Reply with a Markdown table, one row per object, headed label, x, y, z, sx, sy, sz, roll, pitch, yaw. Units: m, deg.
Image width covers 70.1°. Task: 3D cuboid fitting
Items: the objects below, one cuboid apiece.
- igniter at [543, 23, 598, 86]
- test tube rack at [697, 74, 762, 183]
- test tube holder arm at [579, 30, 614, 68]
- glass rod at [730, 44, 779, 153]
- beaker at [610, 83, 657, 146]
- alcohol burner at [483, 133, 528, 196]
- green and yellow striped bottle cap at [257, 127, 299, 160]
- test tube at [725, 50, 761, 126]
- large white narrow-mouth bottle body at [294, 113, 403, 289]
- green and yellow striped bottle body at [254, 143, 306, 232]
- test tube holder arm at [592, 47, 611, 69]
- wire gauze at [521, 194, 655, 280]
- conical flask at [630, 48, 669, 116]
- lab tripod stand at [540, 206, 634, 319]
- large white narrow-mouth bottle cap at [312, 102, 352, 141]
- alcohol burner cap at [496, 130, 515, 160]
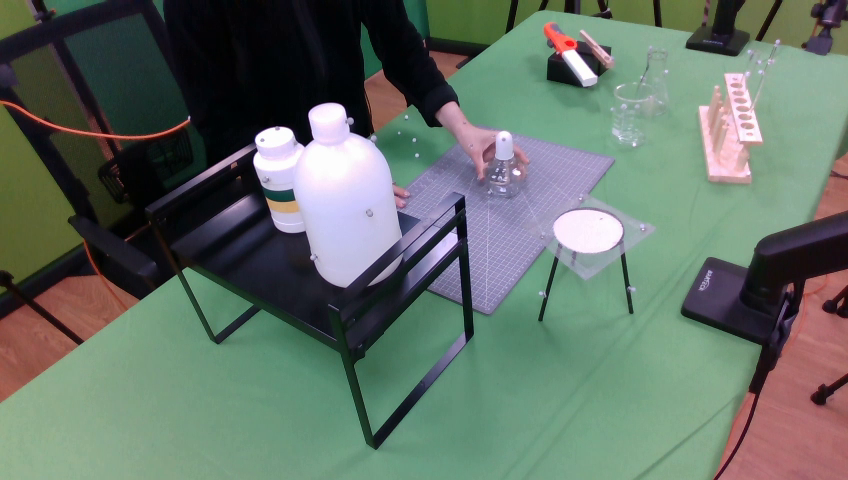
| label | x | y | z | sx | sy | sz | roll | pitch | yaw |
| --- | --- | --- | --- | --- | --- | --- | --- | --- | --- |
| igniter | 0.320 | -0.419 | 1.345 | 0.057 | 0.025 | 0.274 | -12 | 44 | -3 |
| test tube rack | 0.547 | -0.208 | 1.095 | 0.066 | 0.085 | 0.242 | 5 | 42 | 15 |
| test tube holder arm | 0.384 | -0.428 | 1.351 | 0.013 | 0.015 | 0.177 | -11 | 41 | -3 |
| glass rod | 0.555 | -0.233 | 1.020 | 0.008 | 0.200 | 0.008 | 2 | 40 | -1 |
| beaker | 0.388 | -0.235 | 1.138 | 0.074 | 0.101 | 0.083 | -31 | 45 | -26 |
| alcohol burner | 0.139 | -0.135 | 1.037 | 0.078 | 0.119 | 0.077 | -4 | 44 | 5 |
| green and yellow striped bottle cap | -0.169 | -0.112 | 0.699 | 0.045 | 0.020 | 0.045 | -5 | 41 | 5 |
| test tube | 0.570 | -0.269 | 1.085 | 0.017 | 0.151 | 0.017 | -1 | 46 | 1 |
| large white narrow-mouth bottle body | -0.082 | -0.047 | 0.634 | 0.102 | 0.195 | 0.101 | -4 | 39 | 3 |
| green and yellow striped bottle body | -0.165 | -0.073 | 0.732 | 0.063 | 0.120 | 0.063 | -4 | 41 | 4 |
| test tube holder arm | 0.386 | -0.398 | 1.317 | 0.010 | 0.015 | 0.087 | -10 | 41 | -2 |
| wire gauze | 0.207 | -0.012 | 0.772 | 0.122 | 0.011 | 0.124 | -28 | 44 | -20 |
| conical flask | 0.457 | -0.317 | 1.205 | 0.075 | 0.122 | 0.075 | -4 | 41 | 4 |
| lab tripod stand | 0.218 | 0.034 | 0.821 | 0.148 | 0.132 | 0.147 | -4 | 42 | 4 |
| large white narrow-mouth bottle cap | -0.089 | -0.114 | 0.579 | 0.038 | 0.024 | 0.037 | -3 | 39 | 3 |
| alcohol burner cap | 0.136 | -0.161 | 1.012 | 0.034 | 0.048 | 0.033 | -4 | 43 | 5 |
